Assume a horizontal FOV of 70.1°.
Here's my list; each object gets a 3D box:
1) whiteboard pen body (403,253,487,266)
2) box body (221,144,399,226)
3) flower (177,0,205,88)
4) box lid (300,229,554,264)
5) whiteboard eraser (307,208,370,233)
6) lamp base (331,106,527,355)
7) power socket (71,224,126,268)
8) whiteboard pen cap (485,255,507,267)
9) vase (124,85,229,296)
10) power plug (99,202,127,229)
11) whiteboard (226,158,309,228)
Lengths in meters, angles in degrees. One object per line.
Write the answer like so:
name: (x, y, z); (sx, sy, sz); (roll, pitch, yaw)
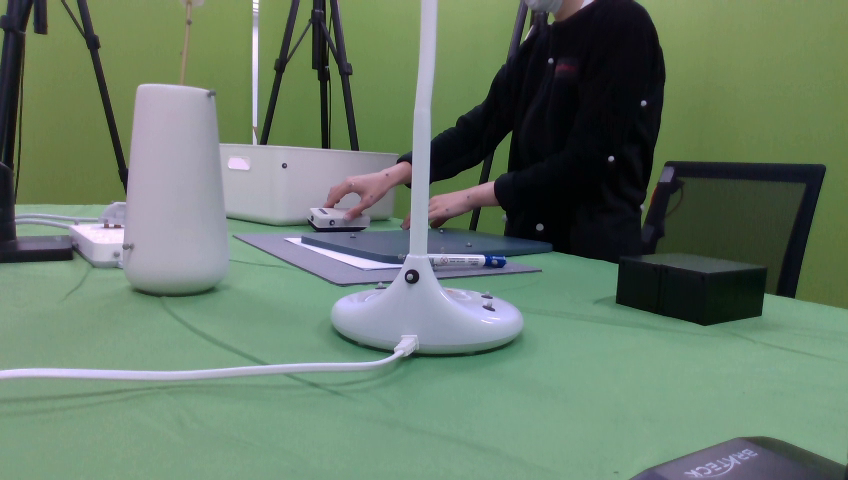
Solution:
whiteboard pen body: (0.040, 0.026, 0.785); (0.141, 0.017, 0.017); (2, 7, -24)
box body: (-0.264, -0.129, 1.380); (0.253, 0.160, 0.366); (8, 9, 39)
flower: (-0.243, -0.131, 0.609); (0.044, 0.361, 0.038); (-5, -12, 12)
box lid: (0.011, 0.006, 0.999); (0.374, 0.015, 0.262); (-3, 9, -43)
whiteboard eraser: (-0.165, -0.038, 1.167); (0.113, 0.042, 0.055); (-3, 22, -34)
lamp base: (0.006, -0.012, 0.478); (0.161, 0.180, 0.179); (2, 10, 2)
power socket: (-0.409, 0.004, 0.793); (0.072, 0.032, 0.225); (-2, 8, -37)
whiteboard pen cap: (0.093, 0.028, 0.810); (0.033, 0.018, 0.018); (1, 7, -24)
vase: (-0.244, -0.047, 0.598); (0.098, 0.200, 0.098); (3, 8, 0)
power plug: (-0.415, -0.026, 0.848); (0.073, 0.052, 0.035); (6, 5, -28)
whiteboard: (-0.276, -0.119, 1.376); (0.216, 0.143, 0.307); (7, 10, 39)
